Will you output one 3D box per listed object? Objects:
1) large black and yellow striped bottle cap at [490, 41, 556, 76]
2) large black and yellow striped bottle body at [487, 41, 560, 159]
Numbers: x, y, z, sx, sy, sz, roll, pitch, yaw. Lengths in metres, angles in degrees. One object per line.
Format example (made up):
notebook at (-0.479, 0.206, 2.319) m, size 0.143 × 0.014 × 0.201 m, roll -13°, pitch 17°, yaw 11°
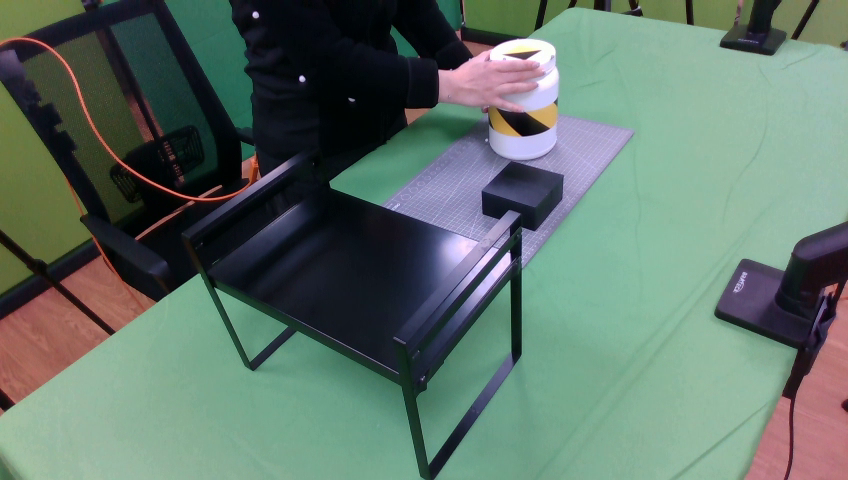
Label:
large black and yellow striped bottle cap at (0.174, -0.322, 1.066) m, size 0.115 × 0.019 × 0.114 m, roll -4°, pitch 39°, yaw 3°
large black and yellow striped bottle body at (0.184, -0.259, 1.121) m, size 0.131 × 0.185 × 0.130 m, roll -5°, pitch 41°, yaw 5°
